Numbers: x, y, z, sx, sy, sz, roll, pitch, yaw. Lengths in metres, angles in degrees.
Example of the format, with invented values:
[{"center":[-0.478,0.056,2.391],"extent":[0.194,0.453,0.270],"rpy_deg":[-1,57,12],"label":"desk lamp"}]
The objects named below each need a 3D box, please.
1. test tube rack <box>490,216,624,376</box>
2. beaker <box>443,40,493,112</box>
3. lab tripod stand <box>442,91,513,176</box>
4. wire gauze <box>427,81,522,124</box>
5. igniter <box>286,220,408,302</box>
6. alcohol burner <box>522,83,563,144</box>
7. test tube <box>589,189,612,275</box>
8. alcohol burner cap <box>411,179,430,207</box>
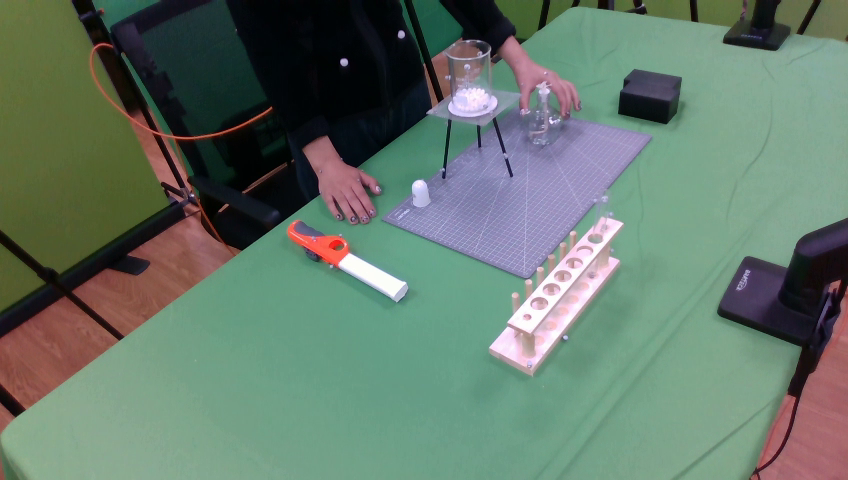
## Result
[{"center":[0.184,0.064,0.822],"extent":[0.066,0.085,0.243],"rpy_deg":[24,50,33],"label":"test tube rack"},{"center":[0.076,-0.276,1.023],"extent":[0.083,0.101,0.074],"rpy_deg":[5,42,15],"label":"beaker"},{"center":[0.096,-0.190,1.096],"extent":[0.148,0.132,0.147],"rpy_deg":[-4,40,4],"label":"lab tripod stand"},{"center":[0.088,-0.237,1.051],"extent":[0.120,0.011,0.125],"rpy_deg":[23,47,29],"label":"wire gauze"},{"center":[-0.134,0.028,0.969],"extent":[0.274,0.025,0.057],"rpy_deg":[26,61,35],"label":"igniter"},{"center":[0.227,-0.244,1.152],"extent":[0.078,0.119,0.077],"rpy_deg":[-4,42,4],"label":"alcohol burner"},{"center":[0.238,-0.007,0.818],"extent":[0.017,0.151,0.017],"rpy_deg":[-3,43,4],"label":"test tube"},{"center":[-0.008,-0.085,1.063],"extent":[0.034,0.048,0.033],"rpy_deg":[-4,40,4],"label":"alcohol burner cap"}]
